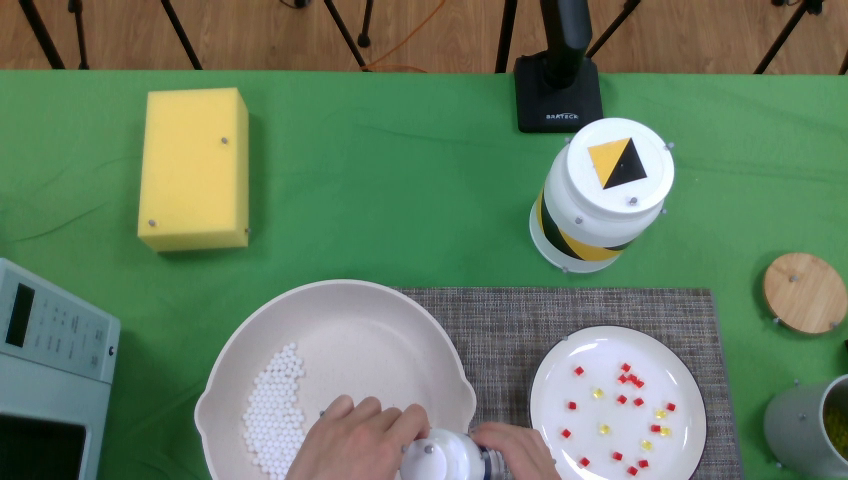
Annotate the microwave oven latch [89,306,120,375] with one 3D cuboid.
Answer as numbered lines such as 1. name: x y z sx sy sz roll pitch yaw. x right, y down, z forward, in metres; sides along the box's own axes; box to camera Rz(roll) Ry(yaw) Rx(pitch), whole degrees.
1. microwave oven latch: -0.379 0.117 0.709 0.030 0.029 0.078 3 71 -1

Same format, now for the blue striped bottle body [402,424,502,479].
1. blue striped bottle body: 0.023 0.201 0.548 0.063 0.122 0.062 -9 68 23

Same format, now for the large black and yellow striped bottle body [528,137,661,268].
1. large black and yellow striped bottle body: 0.204 -0.052 0.730 0.131 0.185 0.130 1 70 -1

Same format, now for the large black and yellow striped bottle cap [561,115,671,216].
1. large black and yellow striped bottle cap: 0.206 -0.081 0.649 0.115 0.019 0.114 0 69 -1

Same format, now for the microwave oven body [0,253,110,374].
1. microwave oven body: -0.525 0.250 0.555 0.326 0.261 0.438 1 71 -2

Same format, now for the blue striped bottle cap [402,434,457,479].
1. blue striped bottle cap: 0.004 0.185 0.503 0.044 0.021 0.044 -16 60 29

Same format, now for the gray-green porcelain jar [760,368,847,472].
1. gray-green porcelain jar: 0.453 0.204 0.678 0.106 0.127 0.105 1 70 -1

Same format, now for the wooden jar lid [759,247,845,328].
1. wooden jar lid: 0.487 0.062 0.785 0.108 0.021 0.107 0 72 -1

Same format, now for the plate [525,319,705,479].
1. plate: 0.221 0.198 0.716 0.209 0.038 0.207 0 71 -1

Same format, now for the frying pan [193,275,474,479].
1. frying pan: -0.096 0.279 0.643 0.307 0.103 0.483 -1 62 0

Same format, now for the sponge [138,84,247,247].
1. sponge: -0.299 -0.099 0.794 0.118 0.061 0.205 -5 72 -4

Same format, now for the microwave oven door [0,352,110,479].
1. microwave oven door: -0.380 0.289 0.541 0.039 0.245 0.353 0 70 -2
